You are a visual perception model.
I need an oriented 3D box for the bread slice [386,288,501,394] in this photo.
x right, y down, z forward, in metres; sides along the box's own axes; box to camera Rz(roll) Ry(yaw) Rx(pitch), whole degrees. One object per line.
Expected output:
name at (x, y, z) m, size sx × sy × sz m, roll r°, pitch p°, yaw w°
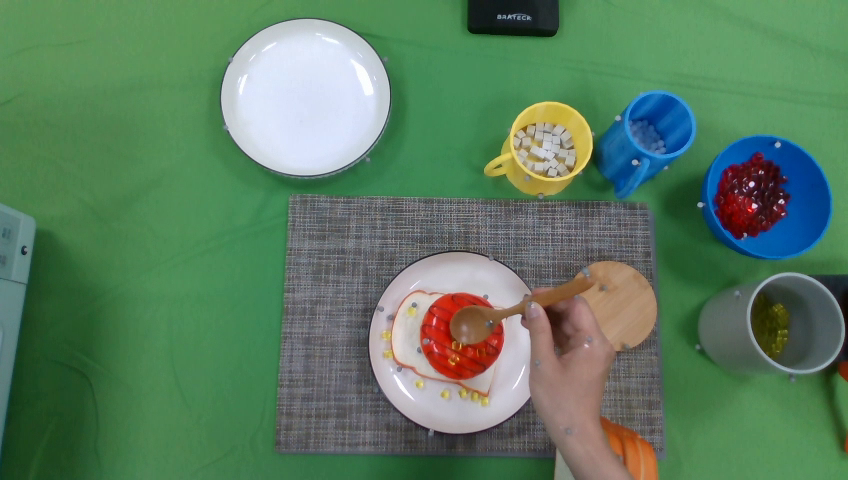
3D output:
bread slice at (0.021, 0.113, 0.706) m, size 0.132 × 0.019 × 0.104 m, roll 15°, pitch 77°, yaw -4°

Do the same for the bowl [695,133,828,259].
bowl at (0.393, -0.045, 0.737) m, size 0.151 × 0.077 × 0.150 m, roll 1°, pitch 79°, yaw -2°

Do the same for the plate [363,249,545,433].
plate at (0.035, 0.115, 0.703) m, size 0.209 × 0.038 × 0.208 m, roll 1°, pitch 78°, yaw -3°

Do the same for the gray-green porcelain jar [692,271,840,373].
gray-green porcelain jar at (0.375, 0.096, 0.683) m, size 0.106 × 0.127 × 0.105 m, roll 1°, pitch 78°, yaw -3°

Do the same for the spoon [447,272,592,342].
spoon at (0.085, 0.066, 0.583) m, size 0.022 × 0.193 × 0.041 m, roll -21°, pitch 85°, yaw -38°

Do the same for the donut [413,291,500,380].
donut at (0.036, 0.106, 0.676) m, size 0.099 × 0.048 × 0.098 m, roll 1°, pitch 79°, yaw -6°

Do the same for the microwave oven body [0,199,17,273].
microwave oven body at (-0.618, 0.148, 0.548) m, size 0.326 × 0.261 × 0.440 m, roll 2°, pitch 79°, yaw -3°

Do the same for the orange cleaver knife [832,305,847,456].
orange cleaver knife at (0.502, 0.147, 0.702) m, size 0.012 × 0.076 × 0.212 m, roll -1°, pitch 108°, yaw -2°

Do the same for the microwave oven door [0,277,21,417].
microwave oven door at (-0.474, 0.195, 0.541) m, size 0.039 × 0.244 × 0.354 m, roll 2°, pitch 78°, yaw -2°

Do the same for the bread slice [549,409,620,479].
bread slice at (0.167, 0.237, 0.641) m, size 0.018 × 0.134 × 0.106 m, roll 9°, pitch 76°, yaw -9°

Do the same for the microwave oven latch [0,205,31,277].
microwave oven latch at (-0.468, 0.001, 0.683) m, size 0.030 × 0.029 × 0.079 m, roll 5°, pitch 79°, yaw -2°

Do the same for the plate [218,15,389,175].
plate at (-0.148, -0.177, 0.755) m, size 0.208 × 0.039 × 0.206 m, roll 1°, pitch 79°, yaw -3°

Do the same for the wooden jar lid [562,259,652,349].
wooden jar lid at (0.219, 0.078, 0.729) m, size 0.108 × 0.021 × 0.108 m, roll 1°, pitch 80°, yaw -3°

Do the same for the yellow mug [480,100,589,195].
yellow mug at (0.130, -0.106, 0.741) m, size 0.131 × 0.064 × 0.099 m, roll -20°, pitch 80°, yaw -5°

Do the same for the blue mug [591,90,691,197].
blue mug at (0.252, -0.105, 0.727) m, size 0.082 × 0.106 × 0.116 m, roll 21°, pitch 78°, yaw 2°
